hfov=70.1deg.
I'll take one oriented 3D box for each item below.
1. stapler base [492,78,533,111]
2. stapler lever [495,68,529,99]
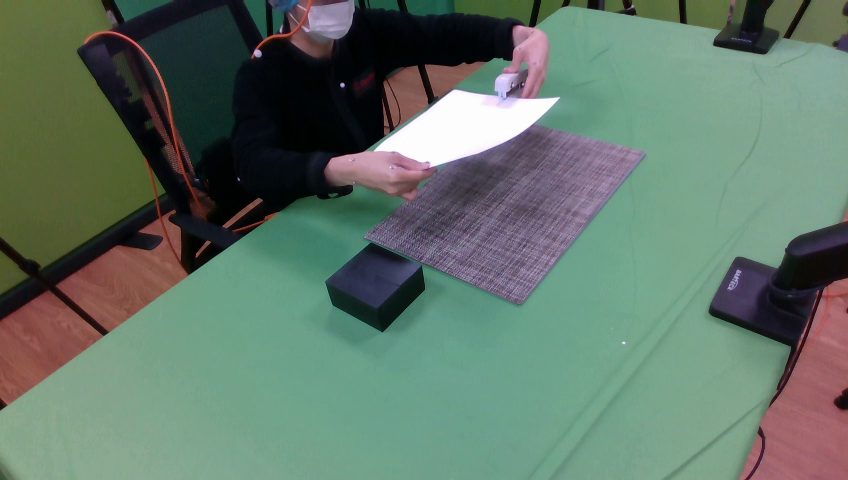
[{"bbox_3d":[0.165,-0.277,1.126,0.041,0.024,0.131,12,38,24],"label":"stapler base"},{"bbox_3d":[0.162,-0.298,1.114,0.026,0.040,0.118,12,40,24],"label":"stapler lever"}]
